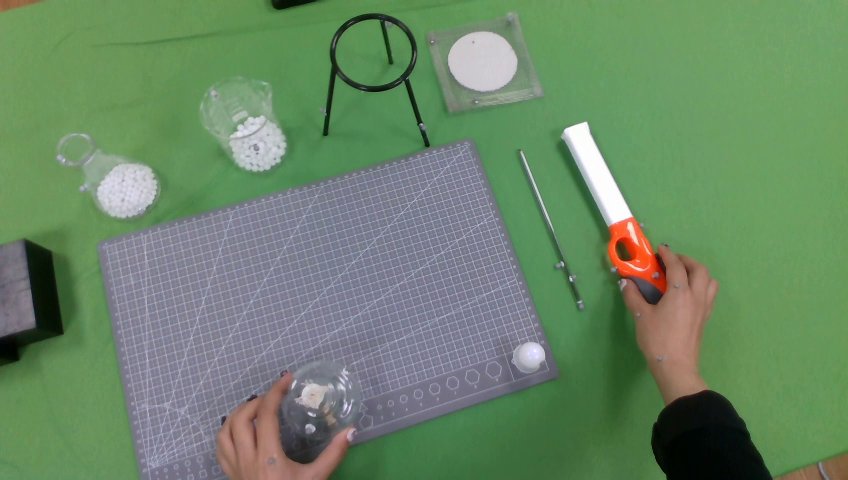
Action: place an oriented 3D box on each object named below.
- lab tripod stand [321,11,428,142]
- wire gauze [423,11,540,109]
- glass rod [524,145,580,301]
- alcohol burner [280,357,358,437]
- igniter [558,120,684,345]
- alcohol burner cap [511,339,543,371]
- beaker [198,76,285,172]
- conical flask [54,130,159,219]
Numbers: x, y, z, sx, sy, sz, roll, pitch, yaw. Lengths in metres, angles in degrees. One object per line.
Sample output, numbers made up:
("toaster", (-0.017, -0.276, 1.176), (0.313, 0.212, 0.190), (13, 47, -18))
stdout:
("lab tripod stand", (-0.056, -0.175, 0.679), (0.148, 0.132, 0.147), (0, 76, 0))
("wire gauze", (0.072, -0.225, 0.761), (0.125, 0.011, 0.121), (-12, 76, -6))
("glass rod", (0.148, -0.023, 0.708), (0.008, 0.008, 0.198), (-14, 74, -5))
("alcohol burner", (-0.105, 0.152, 0.594), (0.078, 0.120, 0.077), (1, 72, -1))
("igniter", (0.225, -0.014, 0.695), (0.057, 0.025, 0.275), (-20, 77, -11))
("alcohol burner cap", (0.111, 0.120, 0.644), (0.034, 0.048, 0.033), (0, 73, -1))
("beaker", (-0.198, -0.127, 0.681), (0.084, 0.101, 0.073), (-43, 79, -12))
("conical flask", (-0.344, -0.075, 0.651), (0.075, 0.122, 0.075), (0, 74, -1))
